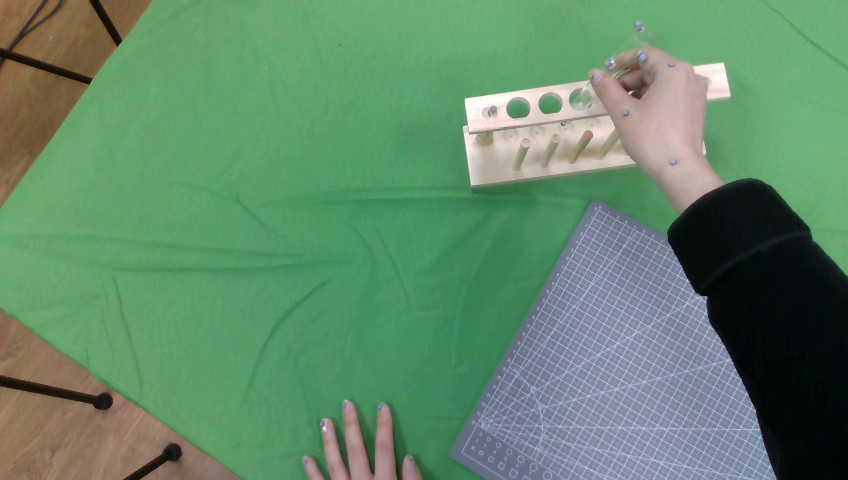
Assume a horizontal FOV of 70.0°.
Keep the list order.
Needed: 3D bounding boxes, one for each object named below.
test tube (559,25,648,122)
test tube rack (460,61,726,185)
[{"bbox_3d":[0.151,-0.140,0.533,0.017,0.150,0.017,3,75,-10],"label":"test tube"},{"bbox_3d":[0.160,-0.112,0.598,0.242,0.085,0.066,-8,81,1],"label":"test tube rack"}]
